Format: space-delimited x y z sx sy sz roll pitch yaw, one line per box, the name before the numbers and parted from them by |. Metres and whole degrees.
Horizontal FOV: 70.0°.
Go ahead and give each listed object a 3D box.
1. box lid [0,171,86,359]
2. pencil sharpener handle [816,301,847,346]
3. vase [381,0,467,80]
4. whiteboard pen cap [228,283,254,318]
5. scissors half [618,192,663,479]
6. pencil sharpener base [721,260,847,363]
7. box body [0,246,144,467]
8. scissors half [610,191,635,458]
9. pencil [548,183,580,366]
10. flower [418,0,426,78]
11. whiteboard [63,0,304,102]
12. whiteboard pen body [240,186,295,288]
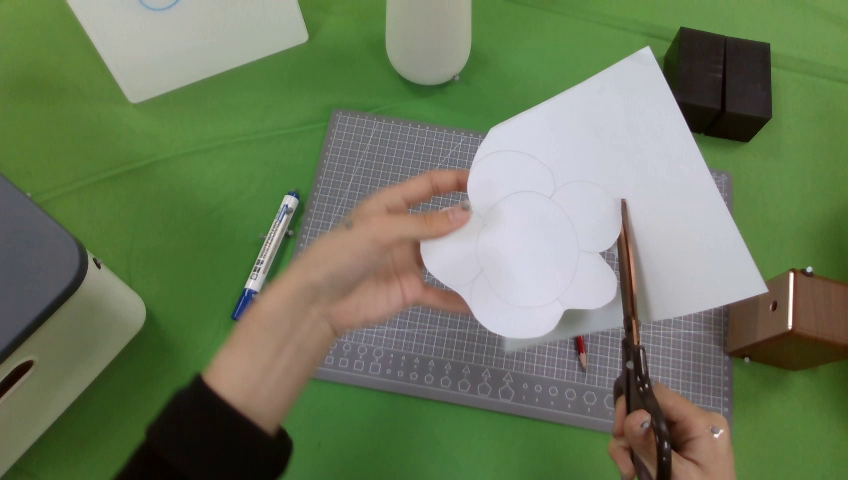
box lid | -0.470 0.002 0.455 0.370 0.015 0.262 35 72 11
pencil sharpener handle | 0.388 0.079 0.547 0.030 0.068 0.035 14 63 1
vase | -0.001 -0.258 0.625 0.098 0.201 0.097 0 68 0
whiteboard pen cap | -0.179 0.059 0.596 0.018 0.018 0.033 15 65 5
scissors half | 0.124 0.058 0.354 0.013 0.040 0.175 -5 87 -2
pencil sharpener base | 0.338 0.070 0.559 0.077 0.107 0.061 14 69 1
box body | -0.470 0.030 0.525 0.362 0.161 0.253 35 73 11
scissors half | 0.124 0.056 0.375 0.013 0.040 0.176 -4 109 4
pencil | 0.144 0.031 0.620 0.012 0.012 0.192 -3 72 -2
flower | -0.004 -0.301 0.552 0.044 0.365 0.038 3 52 4
whiteboard | -0.285 -0.339 0.624 0.217 0.308 0.142 -23 52 -9
whiteboard pen body | -0.163 0.006 0.618 0.017 0.017 0.140 16 68 5
